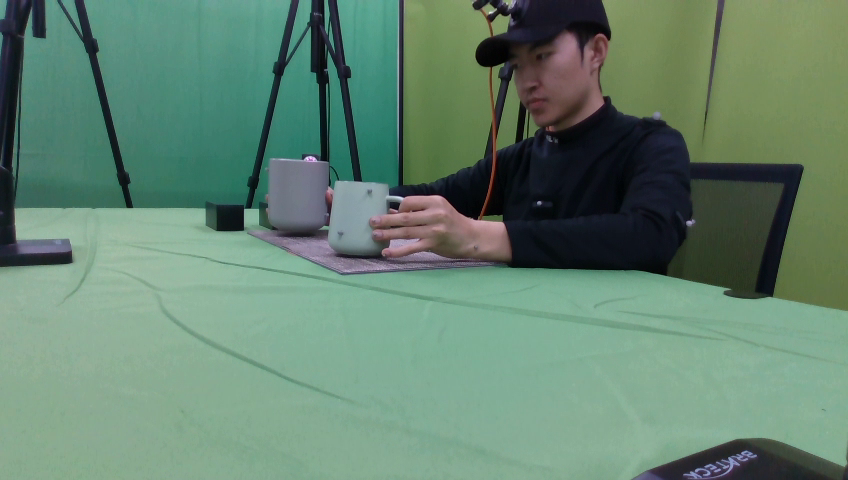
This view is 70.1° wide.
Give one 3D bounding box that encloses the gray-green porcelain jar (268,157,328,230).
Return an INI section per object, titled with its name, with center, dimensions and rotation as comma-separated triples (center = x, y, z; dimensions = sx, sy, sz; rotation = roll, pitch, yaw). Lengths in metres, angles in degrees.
[gray-green porcelain jar]
center = -0.228, -0.084, 1.093
dimensions = 0.106, 0.126, 0.106
rotation = 3, 7, 0

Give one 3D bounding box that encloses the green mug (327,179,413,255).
[green mug]
center = -0.077, -0.033, 0.883
dimensions = 0.125, 0.105, 0.092
rotation = 4, 6, 12
